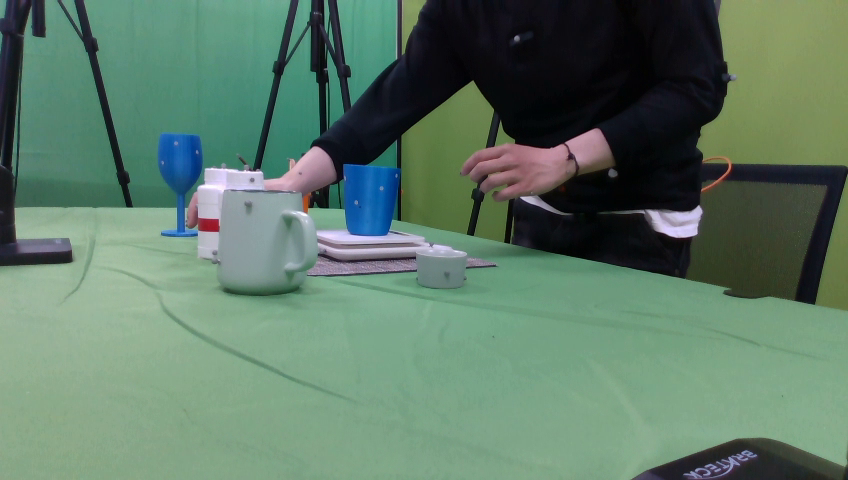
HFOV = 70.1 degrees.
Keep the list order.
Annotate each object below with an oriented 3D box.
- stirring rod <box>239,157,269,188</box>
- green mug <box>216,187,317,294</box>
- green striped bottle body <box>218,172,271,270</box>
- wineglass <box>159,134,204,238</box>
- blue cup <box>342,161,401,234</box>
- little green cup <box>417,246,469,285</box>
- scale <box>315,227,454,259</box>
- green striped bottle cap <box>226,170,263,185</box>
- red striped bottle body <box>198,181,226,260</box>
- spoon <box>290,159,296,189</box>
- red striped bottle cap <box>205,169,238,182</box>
[{"bbox_3d":[-0.309,-0.098,1.209,0.006,0.177,0.014,-39,29,-3],"label":"stirring rod"},{"bbox_3d":[-0.157,0.000,0.629,0.124,0.105,0.093,7,9,37],"label":"green mug"},{"bbox_3d":[-0.223,-0.025,0.755,0.063,0.119,0.063,1,7,0],"label":"green striped bottle body"},{"bbox_3d":[-0.415,-0.093,1.040,0.074,0.172,0.073,2,7,0],"label":"wineglass"},{"bbox_3d":[-0.079,-0.062,0.882,0.093,0.100,0.092,4,5,0],"label":"blue cup"},{"bbox_3d":[0.021,0.029,0.701,0.061,0.038,0.061,1,6,0],"label":"little green cup"},{"bbox_3d":[-0.067,0.001,0.906,0.202,0.031,0.148,-2,8,-31],"label":"scale"},{"bbox_3d":[-0.222,-0.077,0.748,0.044,0.020,0.044,1,7,0],"label":"green striped bottle cap"},{"bbox_3d":[-0.275,-0.035,0.827,0.063,0.119,0.063,1,6,0],"label":"red striped bottle body"},{"bbox_3d":[-0.273,-0.102,1.252,0.042,0.193,0.021,7,-38,-17],"label":"spoon"},{"bbox_3d":[-0.274,-0.088,0.821,0.044,0.017,0.044,-1,6,0],"label":"red striped bottle cap"}]
